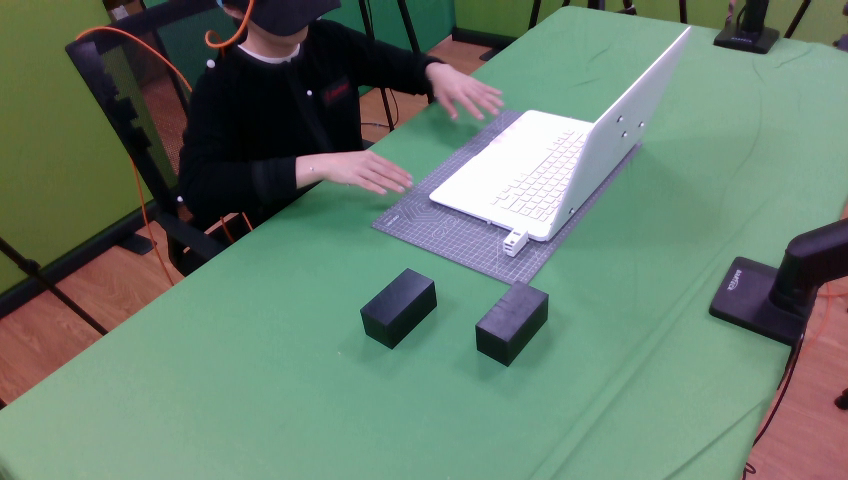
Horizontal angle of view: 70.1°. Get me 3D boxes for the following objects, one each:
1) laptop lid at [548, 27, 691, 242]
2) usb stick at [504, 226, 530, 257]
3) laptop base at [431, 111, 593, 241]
[{"bbox_3d":[0.310,-0.168,0.950,0.013,0.242,0.358,33,52,20],"label":"laptop lid"},{"bbox_3d":[0.149,-0.002,0.940,0.021,0.027,0.059,22,47,32],"label":"usb stick"},{"bbox_3d":[0.207,-0.130,1.100,0.233,0.023,0.355,20,47,34],"label":"laptop base"}]
